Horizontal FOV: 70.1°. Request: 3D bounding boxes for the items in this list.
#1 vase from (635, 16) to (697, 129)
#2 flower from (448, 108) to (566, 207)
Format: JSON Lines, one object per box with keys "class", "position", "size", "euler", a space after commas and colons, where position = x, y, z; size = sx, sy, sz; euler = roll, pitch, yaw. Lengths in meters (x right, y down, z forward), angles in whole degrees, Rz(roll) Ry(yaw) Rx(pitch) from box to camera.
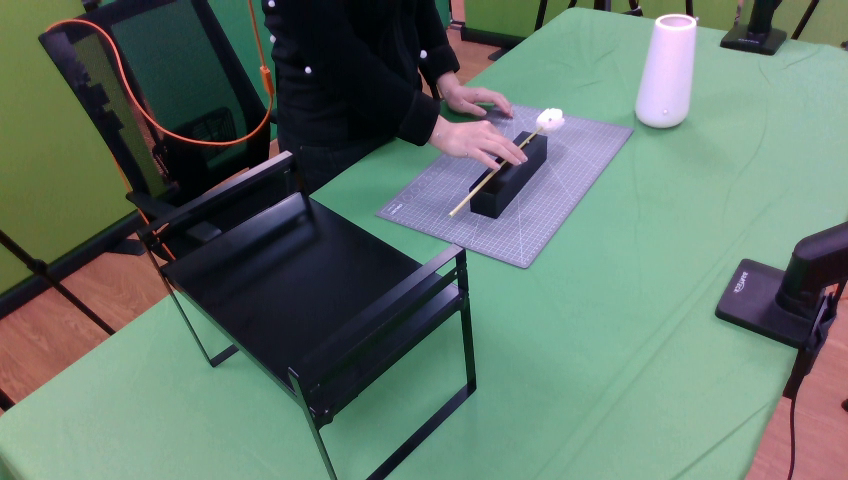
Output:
{"class": "vase", "position": [0.456, -0.310, 1.133], "size": [0.098, 0.201, 0.097], "euler": [-4, 42, 4]}
{"class": "flower", "position": [0.148, -0.146, 1.047], "size": [0.044, 0.038, 0.363], "euler": [46, 53, 4]}
